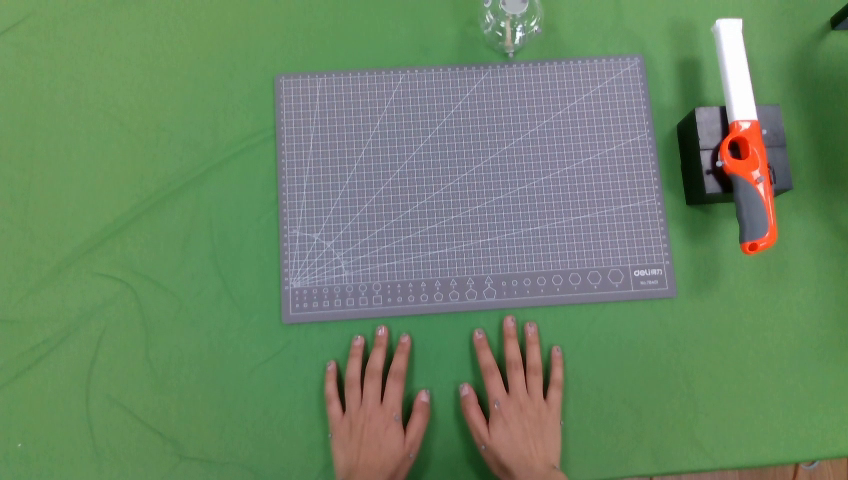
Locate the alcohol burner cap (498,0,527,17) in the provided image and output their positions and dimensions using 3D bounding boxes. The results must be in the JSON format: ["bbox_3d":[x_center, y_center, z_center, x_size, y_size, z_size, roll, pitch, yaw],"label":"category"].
[{"bbox_3d":[0.101,-0.273,0.666,0.034,0.048,0.033,1,78,-3],"label":"alcohol burner cap"}]

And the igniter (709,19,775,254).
[{"bbox_3d":[0.351,-0.119,0.672,0.057,0.025,0.275,-1,77,-1],"label":"igniter"}]

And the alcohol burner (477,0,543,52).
[{"bbox_3d":[0.102,-0.268,0.696,0.078,0.119,0.077,1,80,-3],"label":"alcohol burner"}]
